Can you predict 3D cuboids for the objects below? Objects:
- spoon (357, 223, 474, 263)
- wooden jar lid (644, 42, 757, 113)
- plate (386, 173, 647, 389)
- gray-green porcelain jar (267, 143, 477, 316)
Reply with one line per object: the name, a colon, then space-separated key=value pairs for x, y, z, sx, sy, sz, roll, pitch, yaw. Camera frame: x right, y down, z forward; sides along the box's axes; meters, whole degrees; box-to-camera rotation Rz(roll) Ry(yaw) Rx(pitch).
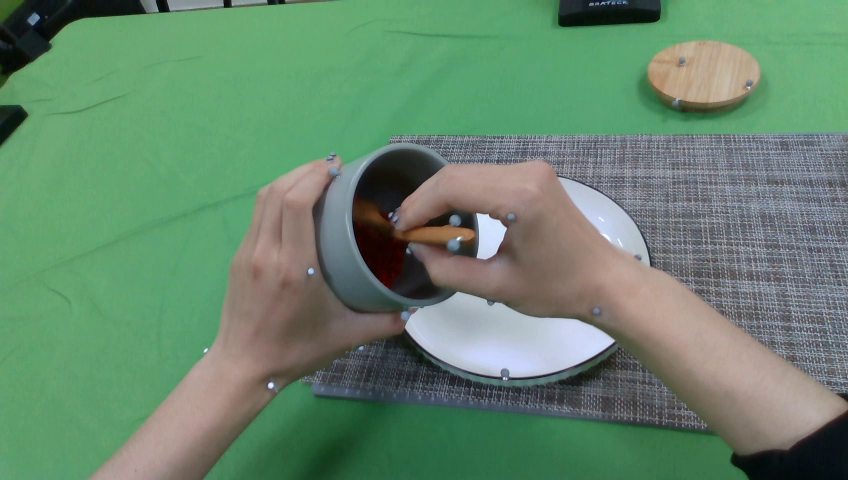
spoon: x=-0.008 y=0.002 z=0.388 sx=0.041 sy=0.022 sz=0.193 roll=-32 pitch=10 yaw=-19
wooden jar lid: x=0.285 y=-0.168 z=0.630 sx=0.108 sy=0.021 sz=0.107 roll=-6 pitch=50 yaw=8
plate: x=0.070 y=0.030 z=0.494 sx=0.207 sy=0.039 sz=0.205 roll=-6 pitch=49 yaw=8
gray-green porcelain jar: x=-0.043 y=-0.001 z=0.427 sx=0.126 sy=0.106 sz=0.105 roll=-13 pitch=37 yaw=51
